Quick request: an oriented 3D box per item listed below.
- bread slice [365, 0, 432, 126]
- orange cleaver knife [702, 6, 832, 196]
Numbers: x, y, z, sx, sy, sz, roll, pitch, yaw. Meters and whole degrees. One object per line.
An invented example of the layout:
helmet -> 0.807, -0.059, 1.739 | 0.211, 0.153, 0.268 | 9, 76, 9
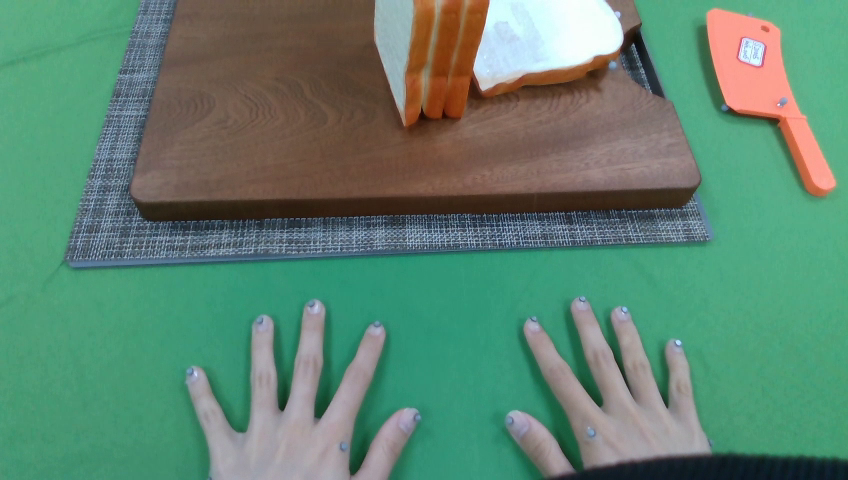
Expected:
bread slice -> -0.019, -0.167, 0.422 | 0.018, 0.135, 0.106 | -9, 52, -17
orange cleaver knife -> 0.288, -0.128, 0.519 | 0.077, 0.012, 0.209 | 3, 59, -4
